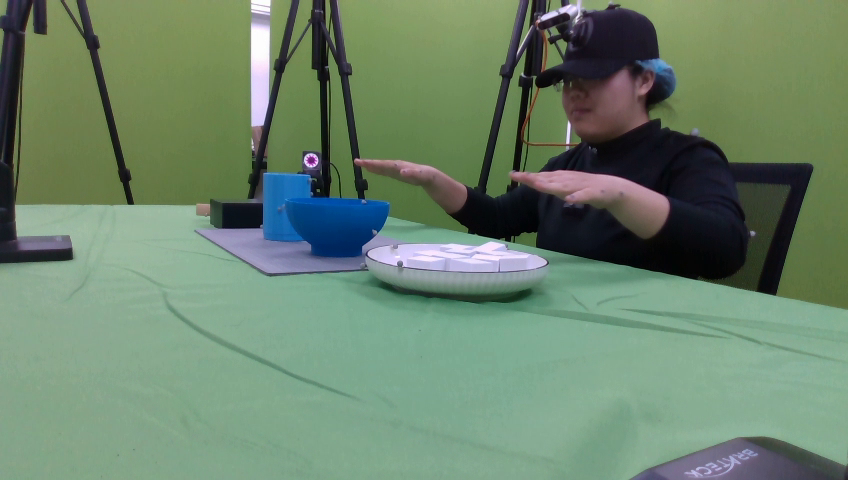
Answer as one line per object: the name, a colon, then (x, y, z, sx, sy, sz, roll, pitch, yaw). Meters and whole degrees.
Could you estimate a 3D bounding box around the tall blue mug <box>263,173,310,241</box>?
tall blue mug: (-0.233, -0.058, 1.019, 0.078, 0.108, 0.107, -1, 8, -19)

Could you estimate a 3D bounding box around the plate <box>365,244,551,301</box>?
plate: (0.038, 0.035, 0.685, 0.209, 0.038, 0.209, 2, 7, 0)

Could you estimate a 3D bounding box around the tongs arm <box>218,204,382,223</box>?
tongs arm: (-0.285, -0.061, 1.382, 0.387, 0.027, 0.028, 3, -2, 6)

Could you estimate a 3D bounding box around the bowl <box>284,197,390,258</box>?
bowl: (-0.125, -0.019, 0.870, 0.151, 0.077, 0.151, 2, 7, 0)

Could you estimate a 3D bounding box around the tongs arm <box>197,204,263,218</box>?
tongs arm: (-0.282, -0.057, 1.301, 0.386, 0.026, 0.050, 2, 1, -7)
